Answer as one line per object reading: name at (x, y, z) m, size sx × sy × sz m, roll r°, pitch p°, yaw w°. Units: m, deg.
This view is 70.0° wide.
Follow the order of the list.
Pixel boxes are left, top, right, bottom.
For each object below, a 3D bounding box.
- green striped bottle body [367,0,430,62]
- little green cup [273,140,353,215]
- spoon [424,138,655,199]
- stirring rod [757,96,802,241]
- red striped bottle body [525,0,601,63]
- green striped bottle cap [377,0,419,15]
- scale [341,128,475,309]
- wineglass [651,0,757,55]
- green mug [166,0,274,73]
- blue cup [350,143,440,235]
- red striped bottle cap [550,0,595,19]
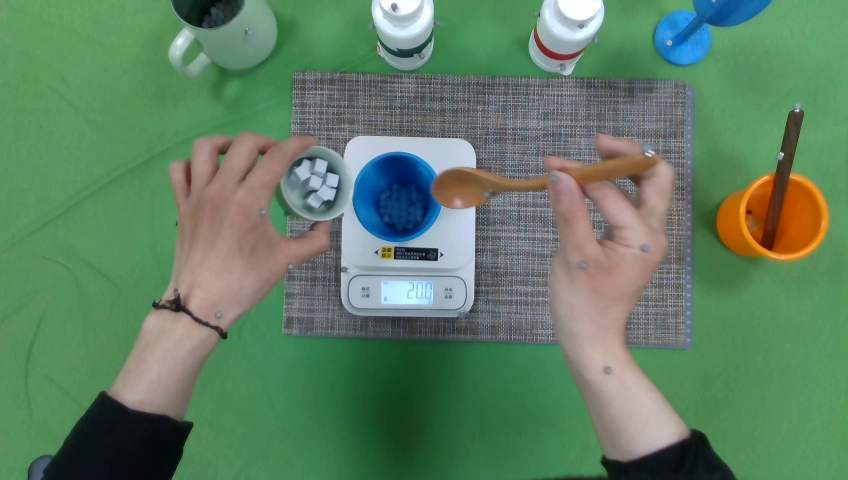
green striped bottle body at (-0.025, -0.237, 0.639) m, size 0.063 × 0.119 × 0.063 m, roll 0°, pitch 87°, yaw 1°
little green cup at (-0.094, -0.050, 0.500) m, size 0.062 × 0.038 × 0.061 m, roll 1°, pitch 89°, yaw -31°
spoon at (0.068, -0.048, 0.417) m, size 0.042 × 0.192 × 0.021 m, roll 50°, pitch 62°, yaw -28°
stirring rod at (0.362, -0.066, 0.620) m, size 0.014 × 0.005 × 0.178 m, roll -13°, pitch 130°, yaw 1°
red striped bottle body at (0.146, -0.236, 0.637) m, size 0.063 × 0.120 × 0.063 m, roll 0°, pitch 87°, yaw 0°
green striped bottle cap at (-0.026, -0.241, 0.583) m, size 0.044 × 0.020 × 0.044 m, roll 0°, pitch 87°, yaw 2°
scale at (-0.018, -0.024, 0.670) m, size 0.149 × 0.031 × 0.200 m, roll 0°, pitch 88°, yaw 1°
wineglass at (0.290, -0.249, 0.610) m, size 0.074 × 0.172 × 0.073 m, roll 0°, pitch 87°, yaw 1°
green mug at (-0.226, -0.233, 0.648) m, size 0.092 × 0.105 × 0.125 m, roll 36°, pitch 88°, yaw 2°
blue cup at (-0.025, -0.046, 0.606) m, size 0.092 × 0.100 × 0.092 m, roll 0°, pitch 90°, yaw 1°
red striped bottle cap at (0.145, -0.238, 0.584) m, size 0.044 × 0.018 × 0.044 m, roll 0°, pitch 85°, yaw 1°
